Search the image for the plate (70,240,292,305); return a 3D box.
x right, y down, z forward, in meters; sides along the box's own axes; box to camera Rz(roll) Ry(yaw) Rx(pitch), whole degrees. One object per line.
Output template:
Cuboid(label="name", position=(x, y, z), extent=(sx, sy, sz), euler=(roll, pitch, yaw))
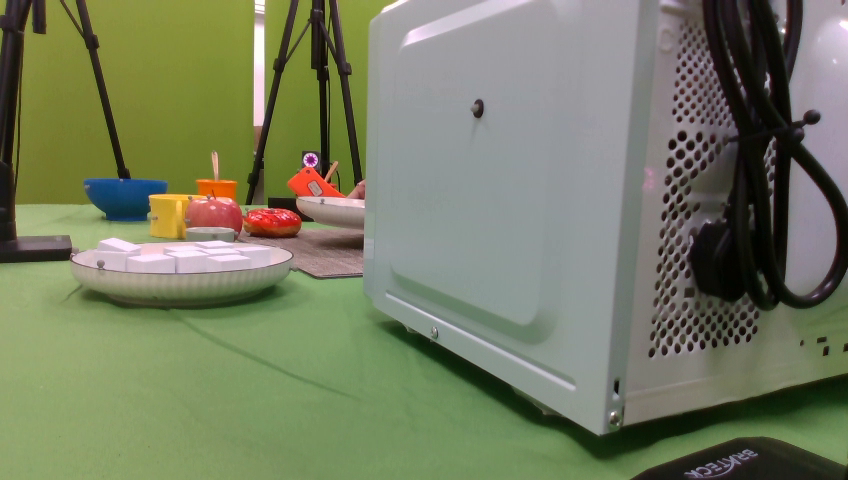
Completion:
Cuboid(label="plate", position=(-0.242, 0.031, 0.618), extent=(0.208, 0.039, 0.207), euler=(2, 8, 0))

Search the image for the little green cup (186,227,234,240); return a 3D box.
Cuboid(label="little green cup", position=(-0.284, 0.005, 0.805), extent=(0.061, 0.038, 0.061), euler=(2, 8, 0))

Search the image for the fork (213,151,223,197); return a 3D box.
Cuboid(label="fork", position=(-0.494, -0.143, 1.442), extent=(0.028, 0.018, 0.206), euler=(-2, 52, -20))

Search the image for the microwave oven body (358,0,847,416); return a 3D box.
Cuboid(label="microwave oven body", position=(0.211, -0.047, 0.475), extent=(0.444, 0.260, 0.324), euler=(-1, 7, -28))

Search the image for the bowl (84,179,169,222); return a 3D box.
Cuboid(label="bowl", position=(-0.584, -0.078, 1.194), extent=(0.151, 0.077, 0.151), euler=(3, 8, 0))

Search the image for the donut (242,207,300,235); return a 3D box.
Cuboid(label="donut", position=(-0.263, -0.031, 1.039), extent=(0.099, 0.048, 0.099), euler=(4, 9, 0))

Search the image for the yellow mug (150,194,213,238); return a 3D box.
Cuboid(label="yellow mug", position=(-0.401, -0.040, 1.003), extent=(0.100, 0.064, 0.130), euler=(-1, 9, -20))

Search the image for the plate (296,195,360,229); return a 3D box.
Cuboid(label="plate", position=(-0.104, -0.045, 0.983), extent=(0.209, 0.038, 0.209), euler=(5, 7, 0))

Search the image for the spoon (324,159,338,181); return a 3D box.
Cuboid(label="spoon", position=(-0.257, -0.147, 1.567), extent=(0.041, 0.022, 0.193), euler=(2, 51, 20))

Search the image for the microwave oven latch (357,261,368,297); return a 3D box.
Cuboid(label="microwave oven latch", position=(-0.019, 0.033, 0.531), extent=(0.079, 0.029, 0.030), euler=(-1, 7, -27))

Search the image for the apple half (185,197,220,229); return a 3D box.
Cuboid(label="apple half", position=(-0.338, -0.031, 0.927), extent=(0.032, 0.081, 0.081), euler=(12, 12, 31))

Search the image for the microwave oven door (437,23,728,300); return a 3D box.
Cuboid(label="microwave oven door", position=(0.181, -0.072, 0.621), extent=(0.358, 0.243, 0.039), euler=(-2, 8, -29))

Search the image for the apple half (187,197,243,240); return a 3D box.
Cuboid(label="apple half", position=(-0.305, -0.026, 0.907), extent=(0.053, 0.074, 0.081), euler=(12, 8, 31))

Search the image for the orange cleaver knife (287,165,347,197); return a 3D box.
Cuboid(label="orange cleaver knife", position=(-0.211, -0.093, 1.382), extent=(0.212, 0.077, 0.012), euler=(33, 1, -15))
